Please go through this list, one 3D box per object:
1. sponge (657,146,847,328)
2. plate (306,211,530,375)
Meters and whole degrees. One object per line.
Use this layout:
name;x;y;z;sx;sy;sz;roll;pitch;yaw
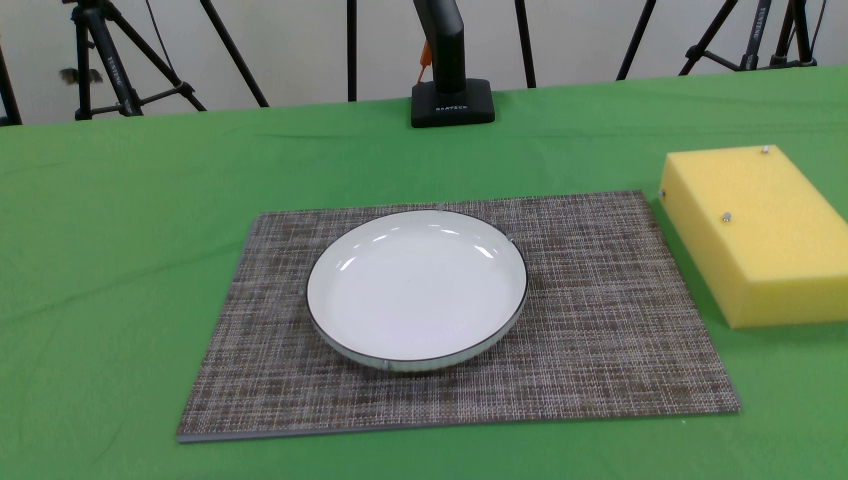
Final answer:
sponge;0.323;-0.012;0.593;0.118;0.061;0.204;-5;39;1
plate;-0.005;0.048;0.573;0.207;0.039;0.205;-3;39;3
